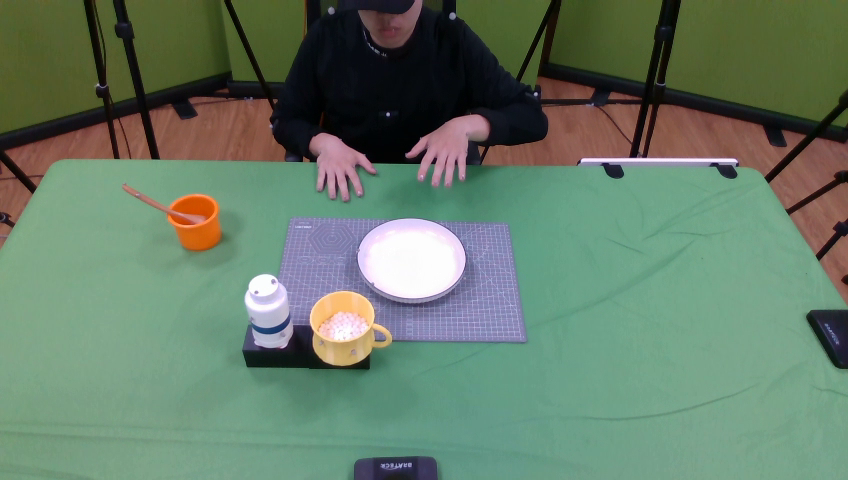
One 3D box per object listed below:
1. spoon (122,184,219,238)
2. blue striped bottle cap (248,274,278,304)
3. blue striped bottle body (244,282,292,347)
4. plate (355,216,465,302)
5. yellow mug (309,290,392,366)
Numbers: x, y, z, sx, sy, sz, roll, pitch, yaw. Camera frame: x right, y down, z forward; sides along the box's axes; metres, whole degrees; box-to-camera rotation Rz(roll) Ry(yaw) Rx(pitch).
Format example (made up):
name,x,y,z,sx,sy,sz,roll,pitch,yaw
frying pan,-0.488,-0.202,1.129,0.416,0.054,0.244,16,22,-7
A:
name,x,y,z,sx,sy,sz,roll,pitch,yaw
spoon,-0.463,-0.053,1.118,0.195,0.021,0.041,28,37,-35
blue striped bottle cap,-0.239,0.072,0.900,0.044,0.021,0.044,4,46,-4
blue striped bottle body,-0.241,0.108,0.937,0.063,0.121,0.062,2,46,-2
plate,-0.027,0.039,1.144,0.208,0.039,0.206,2,46,-2
yellow mug,-0.114,0.141,0.954,0.131,0.064,0.099,12,47,6
